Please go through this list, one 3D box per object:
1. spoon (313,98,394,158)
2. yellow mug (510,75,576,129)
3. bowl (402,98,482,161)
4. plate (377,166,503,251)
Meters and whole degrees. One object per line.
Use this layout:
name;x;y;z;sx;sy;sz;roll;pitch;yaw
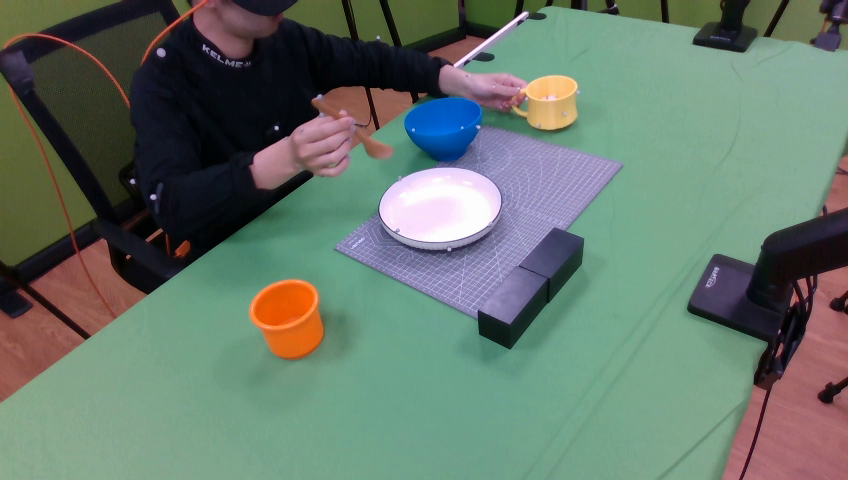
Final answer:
spoon;-0.104;-0.163;0.895;0.041;0.195;0.021;-18;63;24
yellow mug;0.236;-0.275;1.206;0.130;0.064;0.100;3;43;18
bowl;0.040;-0.203;1.154;0.151;0.077;0.150;-7;37;6
plate;0.027;-0.050;1.007;0.209;0.038;0.208;-4;41;4
